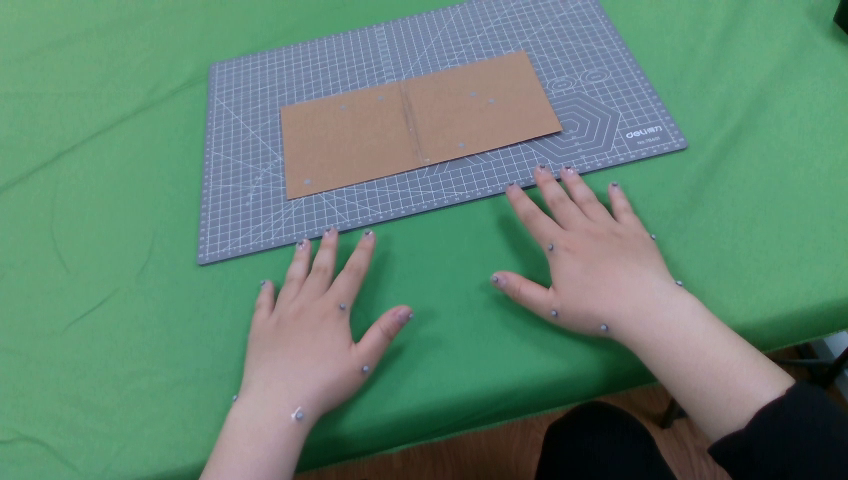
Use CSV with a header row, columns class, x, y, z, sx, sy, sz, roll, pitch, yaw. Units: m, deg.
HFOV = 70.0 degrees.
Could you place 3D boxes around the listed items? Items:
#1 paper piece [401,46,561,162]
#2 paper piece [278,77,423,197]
class,x,y,z,sx,sy,sz,roll,pitch,yaw
paper piece,0.052,-0.141,0.606,0.135,0.004,0.134,-14,52,2
paper piece,-0.078,-0.108,0.608,0.138,0.009,0.134,-13,50,1
